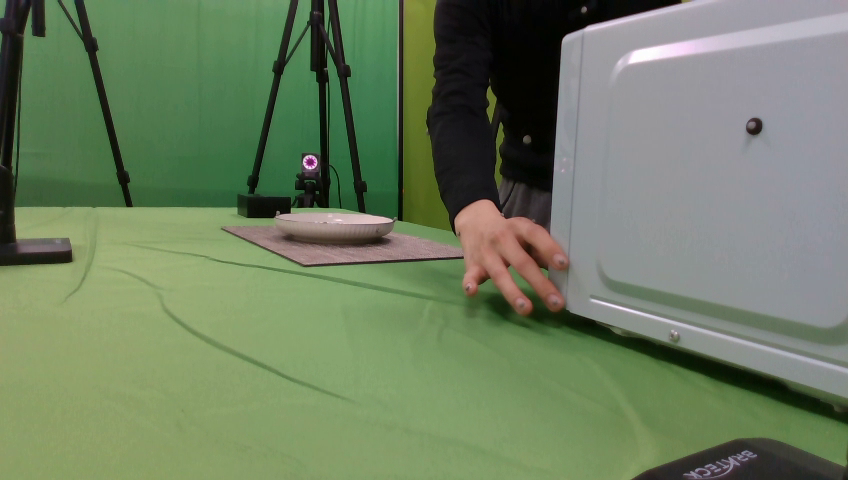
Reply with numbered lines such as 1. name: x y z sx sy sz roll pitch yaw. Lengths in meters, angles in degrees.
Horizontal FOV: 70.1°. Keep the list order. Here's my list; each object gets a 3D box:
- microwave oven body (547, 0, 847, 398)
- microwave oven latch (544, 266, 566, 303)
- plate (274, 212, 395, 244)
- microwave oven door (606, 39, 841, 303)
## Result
1. microwave oven body: 0.378 -0.045 0.509 0.444 0.260 0.324 -2 8 -31
2. microwave oven latch: 0.147 0.039 0.554 0.079 0.029 0.030 -1 7 -27
3. plate: -0.157 -0.022 1.067 0.209 0.038 0.209 2 8 0
4. microwave oven door: 0.341 -0.070 0.654 0.358 0.243 0.039 -3 9 -31
